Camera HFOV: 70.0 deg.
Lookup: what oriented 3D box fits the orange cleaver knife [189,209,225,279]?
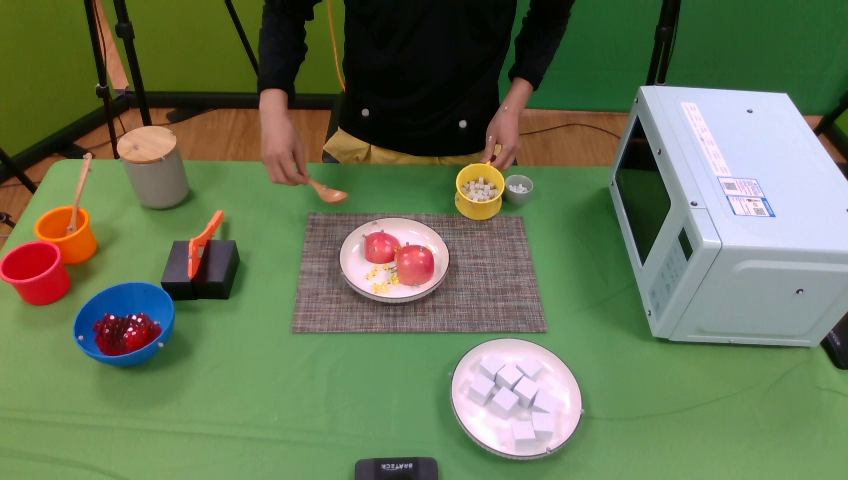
[{"bbox_3d":[-0.400,0.002,1.122,0.012,0.077,0.210,4,23,-4],"label":"orange cleaver knife"}]

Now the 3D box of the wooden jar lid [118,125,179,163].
[{"bbox_3d":[-0.528,-0.181,1.167,0.108,0.021,0.107,4,48,-4],"label":"wooden jar lid"}]

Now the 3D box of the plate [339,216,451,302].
[{"bbox_3d":[-0.054,0.038,1.138,0.209,0.038,0.208,2,46,-2],"label":"plate"}]

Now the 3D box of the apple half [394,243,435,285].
[{"bbox_3d":[-0.016,0.036,1.120,0.075,0.053,0.080,1,46,-6],"label":"apple half"}]

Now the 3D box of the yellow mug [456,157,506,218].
[{"bbox_3d":[0.121,-0.117,1.251,0.100,0.064,0.130,16,61,9],"label":"yellow mug"}]

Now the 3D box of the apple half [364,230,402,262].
[{"bbox_3d":[-0.079,0.004,1.159,0.081,0.033,0.081,3,50,-3],"label":"apple half"}]

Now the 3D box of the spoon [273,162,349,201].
[{"bbox_3d":[-0.218,-0.115,1.148,0.193,0.022,0.041,30,48,26],"label":"spoon"}]

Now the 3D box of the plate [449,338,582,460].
[{"bbox_3d":[0.141,0.251,0.956,0.208,0.039,0.206,2,47,-2],"label":"plate"}]

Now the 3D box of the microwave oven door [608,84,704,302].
[{"bbox_3d":[0.424,-0.096,1.138,0.039,0.245,0.353,3,46,-1],"label":"microwave oven door"}]

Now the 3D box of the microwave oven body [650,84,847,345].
[{"bbox_3d":[0.569,-0.054,1.116,0.326,0.261,0.439,2,46,-1],"label":"microwave oven body"}]

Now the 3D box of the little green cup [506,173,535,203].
[{"bbox_3d":[0.205,-0.110,1.301,0.061,0.039,0.061,2,44,-2],"label":"little green cup"}]

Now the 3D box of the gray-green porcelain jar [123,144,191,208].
[{"bbox_3d":[-0.530,-0.137,1.213,0.106,0.127,0.105,2,46,-2],"label":"gray-green porcelain jar"}]

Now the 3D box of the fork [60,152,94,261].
[{"bbox_3d":[-0.638,-0.063,1.119,0.028,0.018,0.207,12,90,9],"label":"fork"}]

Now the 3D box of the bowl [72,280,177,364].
[{"bbox_3d":[-0.472,0.147,0.982,0.151,0.077,0.150,2,46,-2],"label":"bowl"}]

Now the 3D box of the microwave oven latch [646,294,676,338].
[{"bbox_3d":[0.412,0.133,1.060,0.030,0.029,0.078,3,46,0],"label":"microwave oven latch"}]
